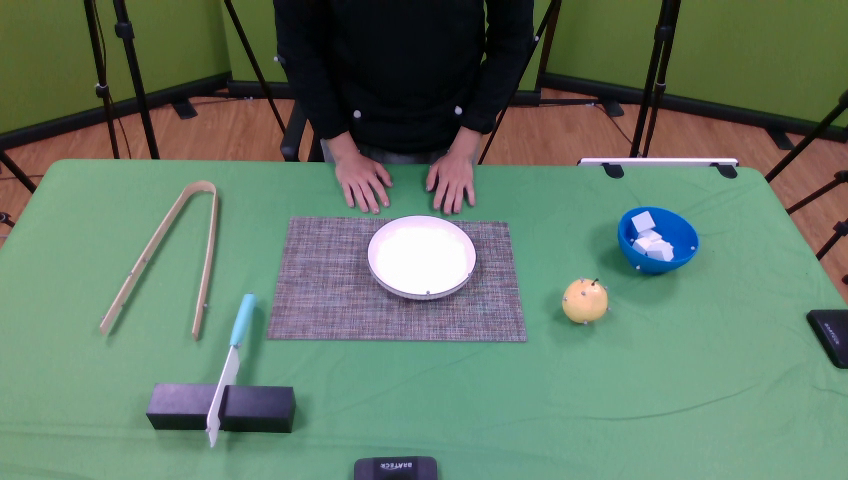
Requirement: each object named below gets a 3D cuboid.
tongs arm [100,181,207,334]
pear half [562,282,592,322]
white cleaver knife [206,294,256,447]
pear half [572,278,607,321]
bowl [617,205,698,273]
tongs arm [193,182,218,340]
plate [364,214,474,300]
[{"bbox_3d":[-0.494,0.018,1.132,0.051,0.026,0.382,7,45,0],"label":"tongs arm"},{"bbox_3d":[0.264,0.111,1.065,0.031,0.088,0.070,-20,61,-21],"label":"pear half"},{"bbox_3d":[-0.305,0.191,0.956,0.021,0.066,0.284,6,36,-4],"label":"white cleaver knife"},{"bbox_3d":[0.297,0.094,1.069,0.056,0.110,0.076,-21,61,-21],"label":"pear half"},{"bbox_3d":[0.443,0.011,1.181,0.151,0.077,0.150,2,46,-2],"label":"bowl"},{"bbox_3d":[-0.413,0.024,1.140,0.028,0.028,0.385,-5,47,-7],"label":"tongs arm"},{"bbox_3d":[-0.010,0.036,1.146,0.208,0.039,0.206,3,46,-2],"label":"plate"}]
